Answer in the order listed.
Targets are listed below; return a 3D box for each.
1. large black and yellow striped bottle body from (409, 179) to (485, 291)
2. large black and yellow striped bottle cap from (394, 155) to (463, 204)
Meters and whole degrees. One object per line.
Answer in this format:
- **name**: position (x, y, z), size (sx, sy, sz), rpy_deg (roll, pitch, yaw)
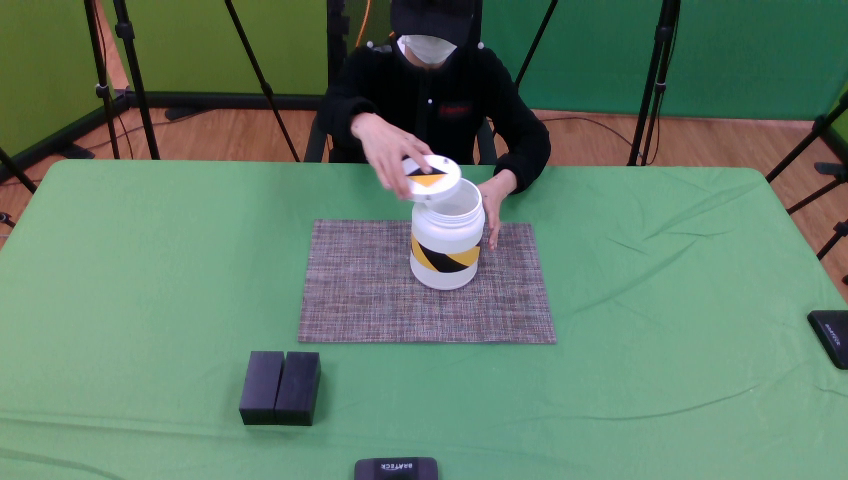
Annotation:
- **large black and yellow striped bottle body**: position (0.040, -0.012, 1.095), size (0.131, 0.185, 0.130), rpy_deg (2, 46, -2)
- **large black and yellow striped bottle cap**: position (0.007, -0.103, 1.008), size (0.115, 0.019, 0.114), rpy_deg (-2, 43, 2)
